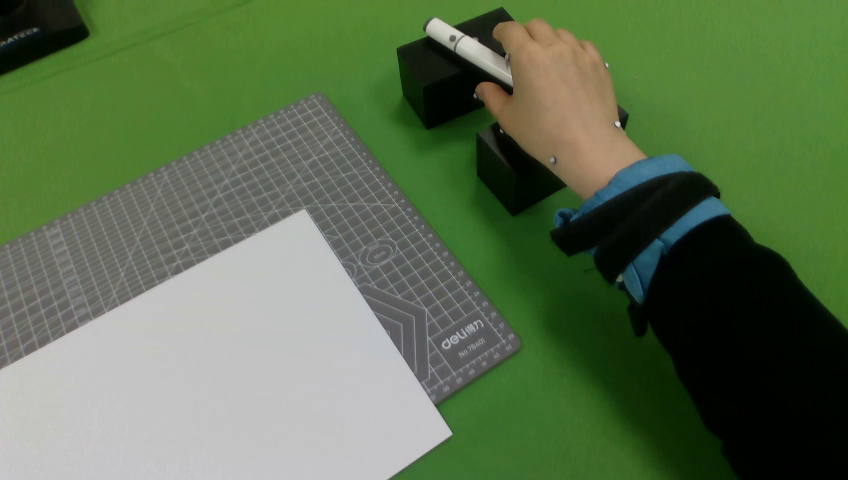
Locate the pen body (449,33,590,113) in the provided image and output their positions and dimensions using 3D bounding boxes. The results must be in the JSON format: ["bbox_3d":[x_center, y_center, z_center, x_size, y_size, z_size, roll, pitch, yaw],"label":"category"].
[{"bbox_3d":[0.061,-0.132,0.461,0.143,0.017,0.017,35,67,24],"label":"pen body"}]

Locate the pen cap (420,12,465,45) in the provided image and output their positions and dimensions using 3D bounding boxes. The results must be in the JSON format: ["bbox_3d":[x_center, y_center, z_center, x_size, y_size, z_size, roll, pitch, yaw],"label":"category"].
[{"bbox_3d":[0.014,-0.169,0.486,0.038,0.017,0.017,39,69,24],"label":"pen cap"}]
